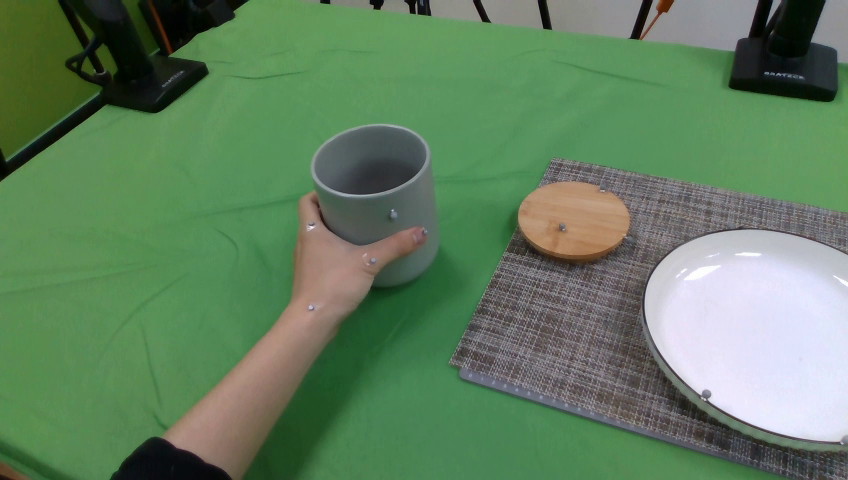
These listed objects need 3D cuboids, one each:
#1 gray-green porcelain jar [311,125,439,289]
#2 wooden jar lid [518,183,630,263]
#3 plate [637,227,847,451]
[{"bbox_3d":[-0.041,-0.025,0.566,0.106,0.128,0.105,-3,45,4],"label":"gray-green porcelain jar"},{"bbox_3d":[0.148,-0.016,0.603,0.108,0.021,0.107,-3,44,3],"label":"wooden jar lid"},{"bbox_3d":[0.277,0.074,0.483,0.207,0.039,0.205,-4,45,4],"label":"plate"}]
